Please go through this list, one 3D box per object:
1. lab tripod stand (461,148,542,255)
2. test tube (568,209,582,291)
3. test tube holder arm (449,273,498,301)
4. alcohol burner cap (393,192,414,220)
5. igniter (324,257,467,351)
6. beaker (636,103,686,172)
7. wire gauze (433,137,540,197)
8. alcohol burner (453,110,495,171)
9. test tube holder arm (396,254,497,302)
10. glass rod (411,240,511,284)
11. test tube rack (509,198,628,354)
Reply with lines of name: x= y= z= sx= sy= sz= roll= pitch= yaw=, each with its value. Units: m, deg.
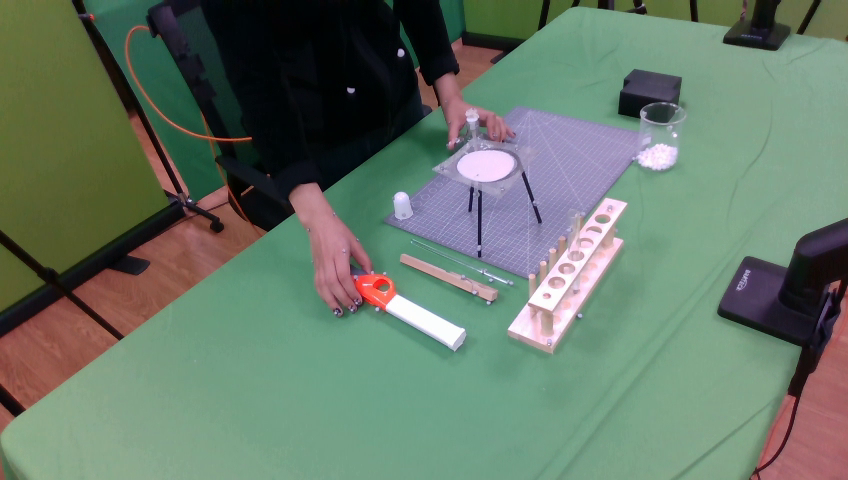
lab tripod stand: x=0.114 y=-0.069 z=0.953 sx=0.148 sy=0.132 sz=0.147 roll=-5 pitch=38 yaw=4
test tube: x=0.200 y=0.017 z=0.799 sx=0.017 sy=0.151 sz=0.017 roll=-8 pitch=45 yaw=8
test tube holder arm: x=0.070 y=0.069 z=0.894 sx=0.087 sy=0.015 sz=0.010 roll=21 pitch=10 yaw=31
alcohol burner cap: x=-0.038 y=-0.061 z=1.043 sx=0.034 sy=0.048 sz=0.033 roll=-6 pitch=41 yaw=5
igniter: x=-0.053 y=0.087 z=0.887 sx=0.274 sy=0.025 sz=0.057 roll=25 pitch=59 yaw=34
beaker: x=0.413 y=-0.177 z=1.055 sx=0.084 sy=0.101 sz=0.073 roll=-28 pitch=44 yaw=-21
wire gauze: x=0.094 y=-0.116 z=0.907 sx=0.124 sy=0.011 sz=0.122 roll=21 pitch=47 yaw=30
alcohol burner: x=0.092 y=-0.187 z=1.112 sx=0.078 sy=0.119 sz=0.077 roll=-4 pitch=41 yaw=4
test tube holder arm: x=0.030 y=0.055 z=0.912 sx=0.177 sy=0.015 sz=0.013 roll=21 pitch=10 yaw=29
glass rod: x=0.053 y=0.033 z=0.946 sx=0.198 sy=0.008 sz=0.008 roll=22 pitch=50 yaw=36
test tube rack: x=0.206 y=0.039 z=0.850 sx=0.066 sy=0.085 sz=0.243 roll=20 pitch=48 yaw=31
